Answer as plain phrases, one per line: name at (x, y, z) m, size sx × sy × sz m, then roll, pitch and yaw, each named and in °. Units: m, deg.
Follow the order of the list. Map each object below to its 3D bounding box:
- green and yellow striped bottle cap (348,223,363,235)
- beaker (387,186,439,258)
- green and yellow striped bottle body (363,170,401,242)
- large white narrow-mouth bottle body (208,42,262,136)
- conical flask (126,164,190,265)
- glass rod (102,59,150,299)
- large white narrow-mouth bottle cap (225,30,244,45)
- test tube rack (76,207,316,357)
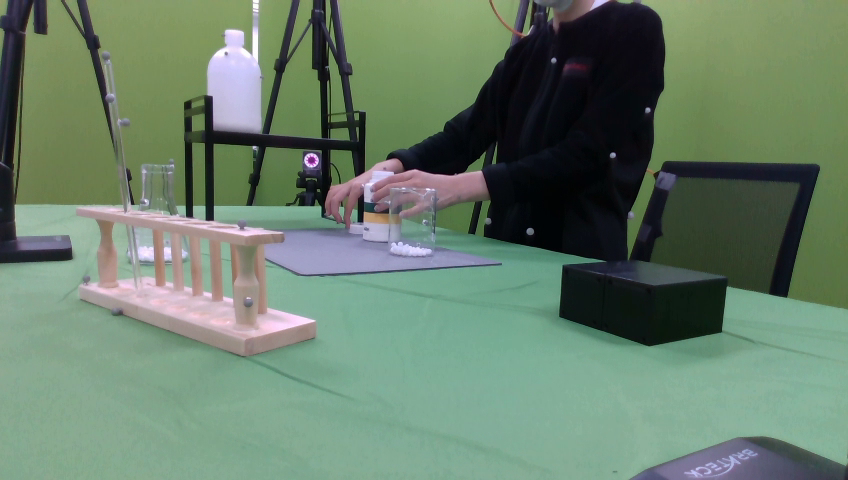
green and yellow striped bottle cap at (-0.119, -0.021, 1.134) m, size 0.045 × 0.020 × 0.045 m, roll 1°, pitch 8°, yaw 0°
beaker at (-0.015, -0.027, 0.885) m, size 0.074 × 0.100 × 0.083 m, roll -1°, pitch 8°, yaw -20°
green and yellow striped bottle body at (-0.072, -0.059, 1.036) m, size 0.063 × 0.119 × 0.063 m, roll 3°, pitch 7°, yaw 0°
large white narrow-mouth bottle body at (-0.368, -0.304, 1.181) m, size 0.102 × 0.194 × 0.101 m, roll 2°, pitch 9°, yaw 0°
conical flask at (-0.332, -0.033, 0.756) m, size 0.075 × 0.122 × 0.075 m, roll 2°, pitch 7°, yaw 0°
glass rod at (-0.243, -0.045, 0.496) m, size 0.008 × 0.199 × 0.008 m, roll -4°, pitch 13°, yaw 1°
large white narrow-mouth bottle cap at (-0.365, -0.390, 1.166) m, size 0.038 × 0.024 × 0.037 m, roll 2°, pitch 9°, yaw 0°
test tube rack at (-0.196, 0.023, 0.500) m, size 0.241 × 0.085 × 0.067 m, roll 8°, pitch 9°, yaw 36°
